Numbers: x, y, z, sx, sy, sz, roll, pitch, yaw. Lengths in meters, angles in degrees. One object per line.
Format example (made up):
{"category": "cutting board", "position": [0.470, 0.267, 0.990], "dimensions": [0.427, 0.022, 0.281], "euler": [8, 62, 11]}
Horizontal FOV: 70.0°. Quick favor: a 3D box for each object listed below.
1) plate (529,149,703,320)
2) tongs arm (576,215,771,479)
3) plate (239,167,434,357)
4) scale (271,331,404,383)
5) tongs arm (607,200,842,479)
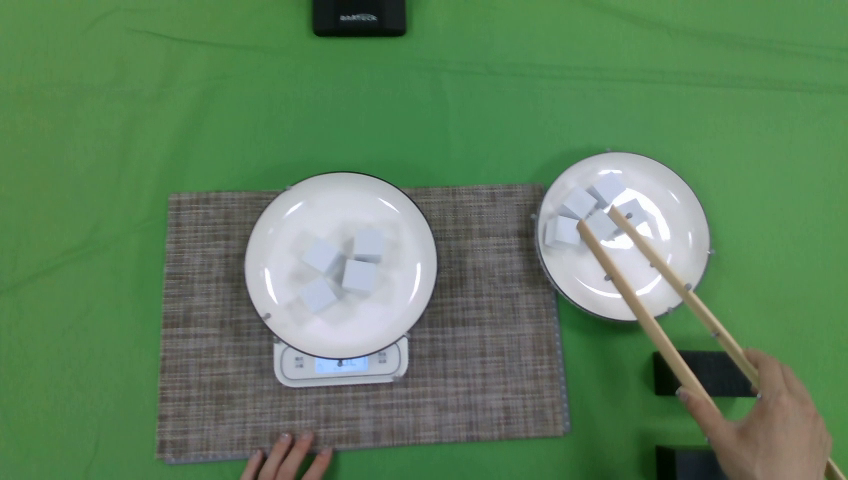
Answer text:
{"category": "plate", "position": [0.226, -0.006, 0.727], "dimensions": [0.208, 0.039, 0.206], "euler": [1, 78, -4]}
{"category": "tongs arm", "position": [0.258, 0.127, 0.577], "dimensions": [0.028, 0.028, 0.384], "euler": [-24, 65, -15]}
{"category": "plate", "position": [-0.093, 0.023, 0.664], "dimensions": [0.209, 0.038, 0.208], "euler": [1, 78, -4]}
{"category": "scale", "position": [-0.099, 0.058, 0.690], "dimensions": [0.149, 0.031, 0.200], "euler": [-1, 78, -4]}
{"category": "tongs arm", "position": [0.282, 0.116, 0.582], "dimensions": [0.051, 0.027, 0.381], "euler": [-28, 66, -13]}
